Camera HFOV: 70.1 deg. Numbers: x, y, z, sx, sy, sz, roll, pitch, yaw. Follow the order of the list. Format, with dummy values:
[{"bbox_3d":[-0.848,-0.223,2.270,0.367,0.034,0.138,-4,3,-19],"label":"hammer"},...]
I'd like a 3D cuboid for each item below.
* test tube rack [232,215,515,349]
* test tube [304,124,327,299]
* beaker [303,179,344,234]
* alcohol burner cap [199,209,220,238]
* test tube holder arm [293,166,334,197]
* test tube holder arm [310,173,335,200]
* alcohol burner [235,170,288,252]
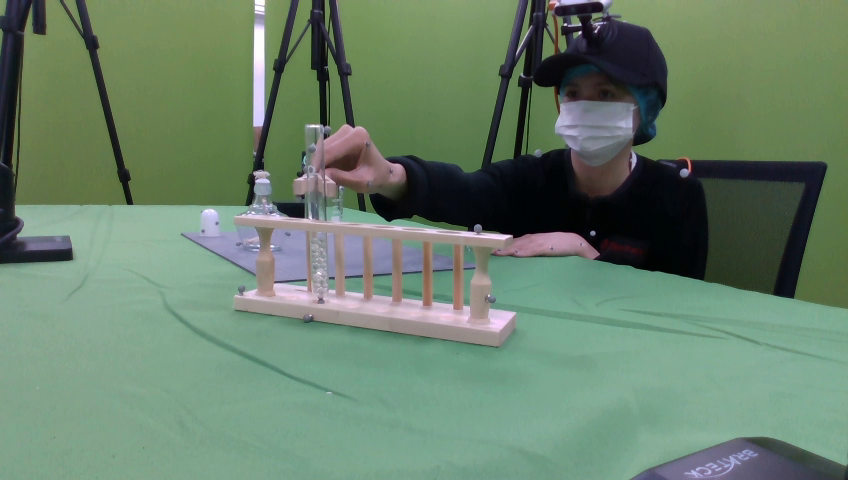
[{"bbox_3d":[-0.045,0.028,0.525,0.242,0.085,0.067,5,8,19],"label":"test tube rack"},{"bbox_3d":[-0.093,-0.022,0.516,0.017,0.150,0.017,0,9,0],"label":"test tube"},{"bbox_3d":[-0.189,-0.063,1.119,0.073,0.100,0.084,6,9,28],"label":"beaker"},{"bbox_3d":[-0.356,-0.027,1.002,0.034,0.048,0.034,2,7,0],"label":"alcohol burner cap"},{"bbox_3d":[-0.111,-0.063,0.621,0.013,0.015,0.178,10,11,-3],"label":"test tube holder arm"},{"bbox_3d":[-0.099,-0.052,0.580,0.010,0.015,0.087,5,13,-22],"label":"test tube holder arm"},{"bbox_3d":[-0.236,-0.042,0.882,0.078,0.119,0.078,2,9,0],"label":"alcohol burner"}]
